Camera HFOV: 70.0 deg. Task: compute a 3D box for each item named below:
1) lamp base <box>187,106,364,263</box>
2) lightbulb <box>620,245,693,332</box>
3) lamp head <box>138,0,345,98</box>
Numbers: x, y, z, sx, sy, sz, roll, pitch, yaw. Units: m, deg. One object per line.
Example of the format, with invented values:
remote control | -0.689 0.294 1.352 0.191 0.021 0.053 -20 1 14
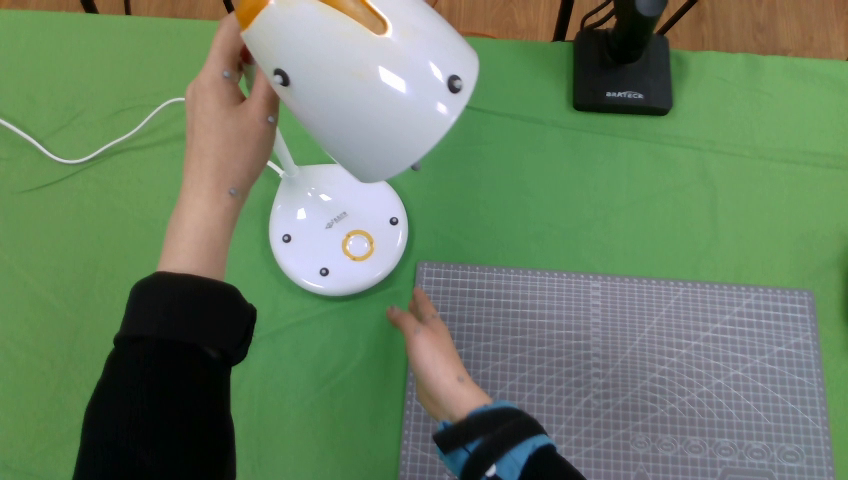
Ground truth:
lamp base | -0.164 -0.074 0.635 0.179 0.181 0.160 13 75 7
lightbulb | 0.248 0.050 0.662 0.059 0.060 0.106 -20 60 -4
lamp head | -0.121 -0.159 0.357 0.124 0.112 0.112 21 72 -31
